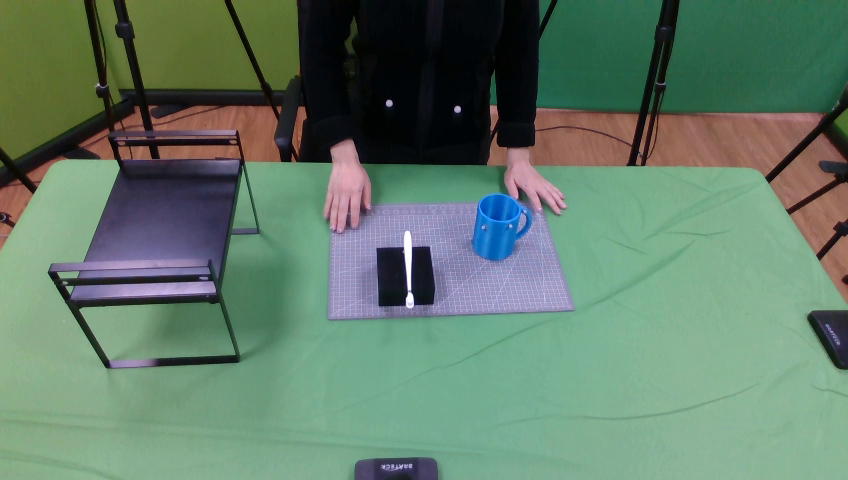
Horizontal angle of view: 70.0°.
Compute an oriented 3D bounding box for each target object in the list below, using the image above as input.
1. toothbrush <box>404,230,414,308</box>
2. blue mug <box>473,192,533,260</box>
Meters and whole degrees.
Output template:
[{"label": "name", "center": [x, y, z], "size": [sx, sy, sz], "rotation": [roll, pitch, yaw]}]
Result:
[{"label": "toothbrush", "center": [-0.027, 0.046, 1.082], "size": [0.014, 0.017, 0.180], "rotation": [-5, 46, 2]}, {"label": "blue mug", "center": [0.156, -0.029, 1.173], "size": [0.117, 0.106, 0.082], "rotation": [-8, 47, -12]}]
